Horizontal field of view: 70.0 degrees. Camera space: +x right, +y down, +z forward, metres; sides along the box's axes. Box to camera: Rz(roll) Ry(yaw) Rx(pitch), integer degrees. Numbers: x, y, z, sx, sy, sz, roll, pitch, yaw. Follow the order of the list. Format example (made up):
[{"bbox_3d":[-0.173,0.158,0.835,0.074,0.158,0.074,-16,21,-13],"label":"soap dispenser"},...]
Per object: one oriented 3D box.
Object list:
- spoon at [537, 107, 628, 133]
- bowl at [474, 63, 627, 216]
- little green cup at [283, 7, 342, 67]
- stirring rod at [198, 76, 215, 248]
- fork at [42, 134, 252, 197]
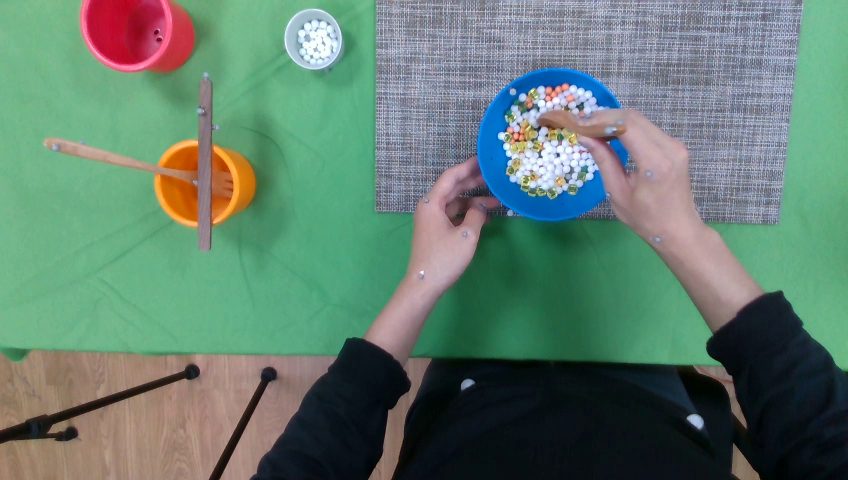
[{"bbox_3d":[0.144,-0.106,0.549,0.042,0.192,0.022,8,105,-7],"label":"spoon"},{"bbox_3d":[0.128,-0.103,0.635,0.151,0.076,0.151,1,99,4],"label":"bowl"},{"bbox_3d":[-0.118,-0.217,0.656,0.061,0.038,0.062,1,100,4],"label":"little green cup"},{"bbox_3d":[-0.225,-0.079,0.627,0.014,0.006,0.176,3,100,5],"label":"stirring rod"},{"bbox_3d":[-0.279,-0.077,0.633,0.209,0.018,0.028,12,106,-42],"label":"fork"}]
